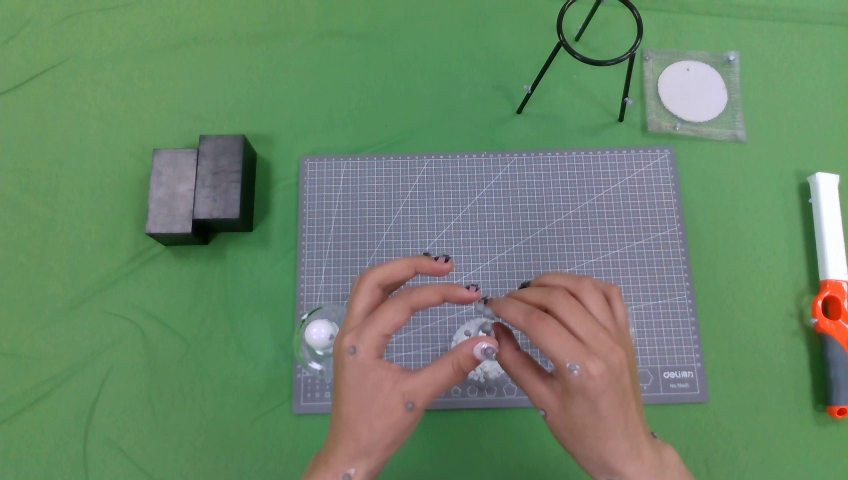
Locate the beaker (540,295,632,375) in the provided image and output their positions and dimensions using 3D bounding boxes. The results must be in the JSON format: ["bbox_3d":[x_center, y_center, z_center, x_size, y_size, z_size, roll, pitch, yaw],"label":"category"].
[{"bbox_3d":[0.165,0.100,0.626,0.084,0.101,0.073,-34,78,-9],"label":"beaker"}]

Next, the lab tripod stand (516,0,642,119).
[{"bbox_3d":[0.179,-0.204,0.691,0.148,0.132,0.147,0,77,1],"label":"lab tripod stand"}]

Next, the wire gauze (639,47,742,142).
[{"bbox_3d":[0.330,-0.184,0.750,0.125,0.011,0.121,5,76,-1],"label":"wire gauze"}]

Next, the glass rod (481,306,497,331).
[{"bbox_3d":[0.048,0.059,0.439,0.008,0.200,0.008,-1,79,8],"label":"glass rod"}]

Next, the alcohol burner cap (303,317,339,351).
[{"bbox_3d":[-0.101,0.089,0.584,0.034,0.048,0.033,1,79,-3],"label":"alcohol burner cap"}]

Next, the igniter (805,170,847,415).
[{"bbox_3d":[0.456,0.054,0.678,0.057,0.025,0.275,7,75,-9],"label":"igniter"}]

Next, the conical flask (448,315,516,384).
[{"bbox_3d":[0.063,0.106,0.612,0.075,0.122,0.075,0,74,1],"label":"conical flask"}]

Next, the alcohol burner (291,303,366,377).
[{"bbox_3d":[-0.101,0.100,0.618,0.078,0.120,0.077,-1,74,2],"label":"alcohol burner"}]
